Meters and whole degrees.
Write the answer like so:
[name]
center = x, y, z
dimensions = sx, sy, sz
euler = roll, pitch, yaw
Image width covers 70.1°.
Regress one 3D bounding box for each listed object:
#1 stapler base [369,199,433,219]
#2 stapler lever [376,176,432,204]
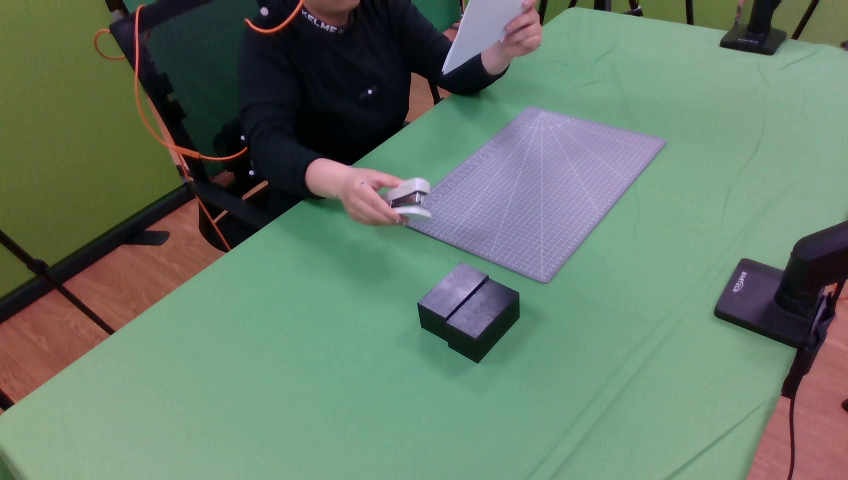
[stapler base]
center = -0.034, -0.050, 0.937
dimensions = 0.129, 0.042, 0.024
euler = -4, 70, 52
[stapler lever]
center = -0.031, -0.074, 0.942
dimensions = 0.117, 0.027, 0.040
euler = -3, 71, 53
